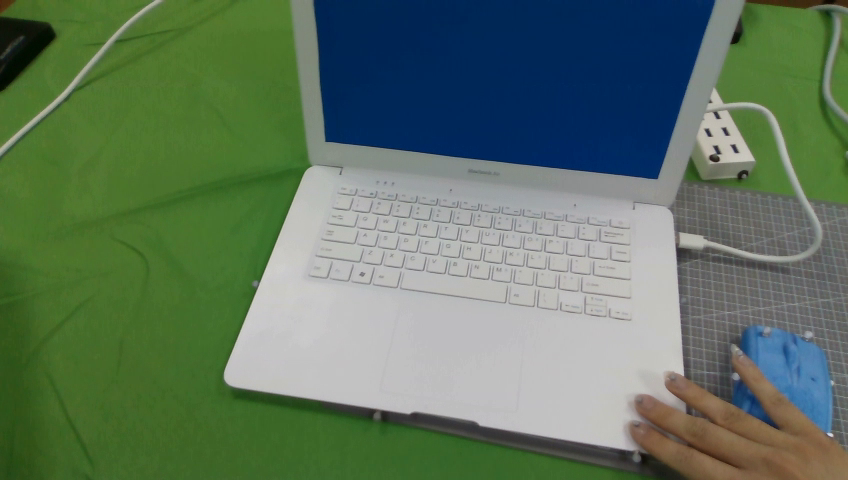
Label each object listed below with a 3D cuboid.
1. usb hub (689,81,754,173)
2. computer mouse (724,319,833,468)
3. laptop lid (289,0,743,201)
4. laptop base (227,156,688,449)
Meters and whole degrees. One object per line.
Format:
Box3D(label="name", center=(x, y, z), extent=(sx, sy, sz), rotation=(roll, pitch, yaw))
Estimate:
Box3D(label="usb hub", center=(0.294, -0.124, 0.634), extent=(0.049, 0.025, 0.124), rotation=(-4, 54, -2))
Box3D(label="computer mouse", center=(0.266, 0.108, 0.452), extent=(0.062, 0.041, 0.116), rotation=(20, 52, 17))
Box3D(label="laptop lid", center=(0.060, -0.147, 0.511), extent=(0.356, 0.244, 0.013), rotation=(6, 41, 7))
Box3D(label="laptop base", center=(0.037, 0.038, 0.521), extent=(0.354, 0.023, 0.233), rotation=(7, 57, 6))
